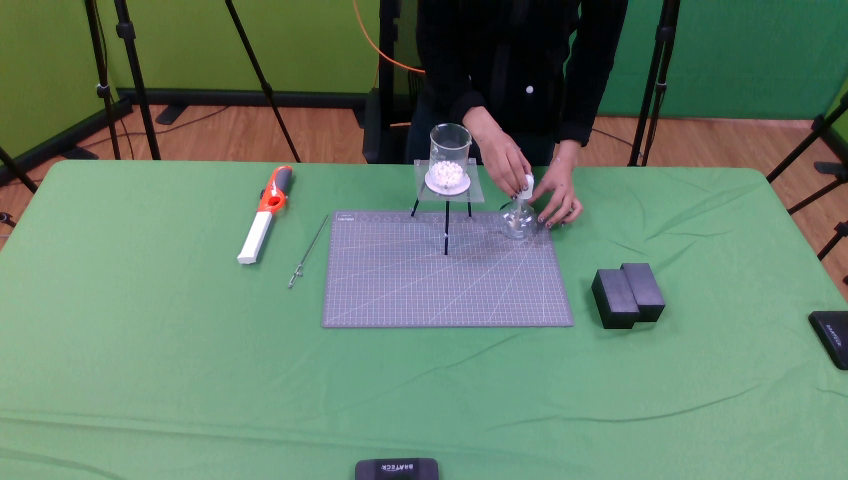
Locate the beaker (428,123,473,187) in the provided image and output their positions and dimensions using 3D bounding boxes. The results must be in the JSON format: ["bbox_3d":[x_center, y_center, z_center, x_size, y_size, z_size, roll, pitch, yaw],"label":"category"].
[{"bbox_3d":[0.044,-0.154,1.109,0.074,0.101,0.083,-25,54,-25],"label":"beaker"}]

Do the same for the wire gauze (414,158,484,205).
[{"bbox_3d":[0.045,-0.113,1.137,0.125,0.011,0.120,1,48,-6],"label":"wire gauze"}]

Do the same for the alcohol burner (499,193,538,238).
[{"bbox_3d":[0.189,-0.061,1.202,0.078,0.120,0.077,1,48,-1],"label":"alcohol burner"}]

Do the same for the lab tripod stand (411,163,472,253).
[{"bbox_3d":[0.043,-0.069,1.187,0.148,0.132,0.147,3,47,-3],"label":"lab tripod stand"}]

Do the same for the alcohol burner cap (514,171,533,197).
[{"bbox_3d":[0.192,-0.110,1.155,0.034,0.048,0.033,4,47,-4],"label":"alcohol burner cap"}]

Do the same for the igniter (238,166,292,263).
[{"bbox_3d":[-0.318,-0.060,1.229,0.057,0.025,0.275,-2,45,10],"label":"igniter"}]

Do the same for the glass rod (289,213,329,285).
[{"bbox_3d":[-0.221,0.014,1.179,0.008,0.008,0.199,12,46,8],"label":"glass rod"}]
